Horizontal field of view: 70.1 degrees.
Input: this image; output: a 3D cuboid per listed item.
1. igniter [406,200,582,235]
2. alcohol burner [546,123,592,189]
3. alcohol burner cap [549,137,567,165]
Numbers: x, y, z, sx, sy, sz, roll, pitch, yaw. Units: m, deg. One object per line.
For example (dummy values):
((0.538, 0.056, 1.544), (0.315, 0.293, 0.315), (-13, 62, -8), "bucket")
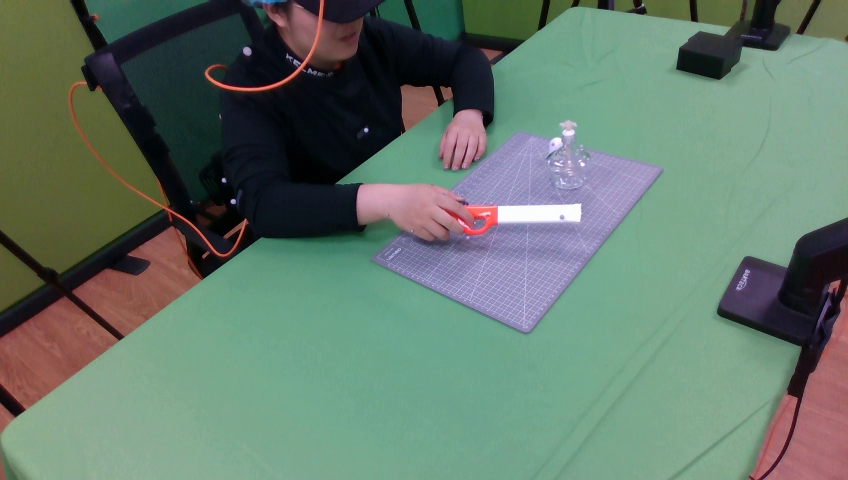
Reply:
((0.107, -0.036, 0.952), (0.276, 0.025, 0.057), (-2, 76, 13), "igniter")
((0.248, -0.147, 1.035), (0.078, 0.120, 0.077), (-7, 41, 6), "alcohol burner")
((0.247, -0.166, 1.114), (0.034, 0.048, 0.033), (-6, 40, 5), "alcohol burner cap")
